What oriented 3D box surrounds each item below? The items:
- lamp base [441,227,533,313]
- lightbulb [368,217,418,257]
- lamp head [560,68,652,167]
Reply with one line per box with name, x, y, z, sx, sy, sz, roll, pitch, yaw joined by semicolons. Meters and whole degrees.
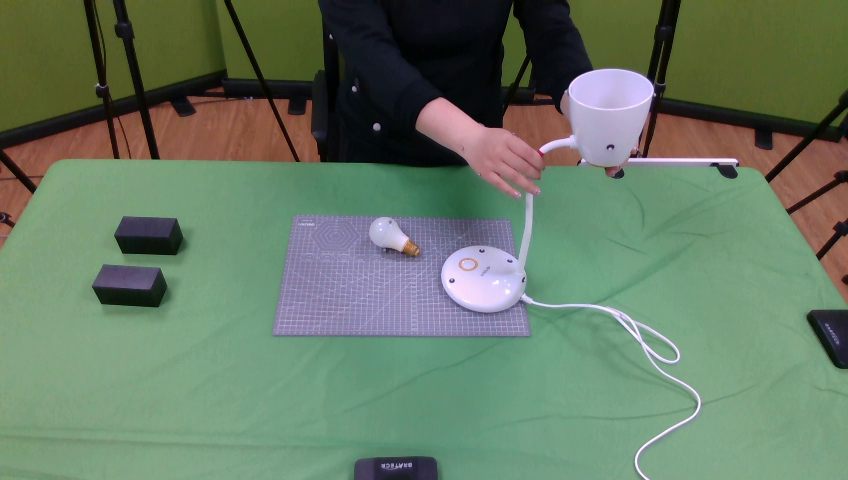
lamp base;0.126;0.021;1.072;0.179;0.181;0.160;23;49;13
lightbulb;-0.058;-0.002;1.173;0.107;0.060;0.059;32;50;4
lamp head;0.253;-0.165;0.859;0.112;0.123;0.111;-1;42;1
